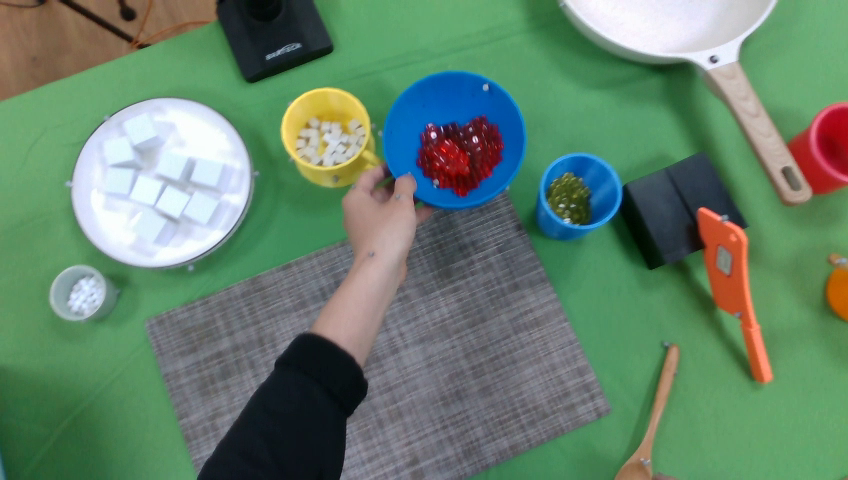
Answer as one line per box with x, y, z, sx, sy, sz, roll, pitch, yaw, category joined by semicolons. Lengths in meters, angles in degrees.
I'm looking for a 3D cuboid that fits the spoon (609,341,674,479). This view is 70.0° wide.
0.249;0.203;0.673;0.041;0.022;0.193;19;79;16;spoon

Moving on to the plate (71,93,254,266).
-0.301;-0.069;0.714;0.208;0.039;0.206;0;79;0;plate

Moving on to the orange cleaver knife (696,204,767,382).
0.340;0.060;0.672;0.012;0.076;0.212;-23;109;-5;orange cleaver knife

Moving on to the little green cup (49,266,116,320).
-0.383;0.062;0.686;0.061;0.039;0.061;0;80;-2;little green cup

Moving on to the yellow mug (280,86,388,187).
-0.098;-0.112;0.710;0.130;0.064;0.099;30;79;5;yellow mug

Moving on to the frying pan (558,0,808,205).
0.322;-0.257;0.723;0.307;0.103;0.484;-18;71;-3;frying pan

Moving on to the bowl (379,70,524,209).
0.030;-0.098;0.660;0.151;0.077;0.150;-1;78;3;bowl

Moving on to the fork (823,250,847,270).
0.463;0.037;0.643;0.209;0.018;0.028;17;75;-41;fork

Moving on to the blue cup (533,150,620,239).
0.162;-0.042;0.680;0.093;0.100;0.092;0;76;-1;blue cup
